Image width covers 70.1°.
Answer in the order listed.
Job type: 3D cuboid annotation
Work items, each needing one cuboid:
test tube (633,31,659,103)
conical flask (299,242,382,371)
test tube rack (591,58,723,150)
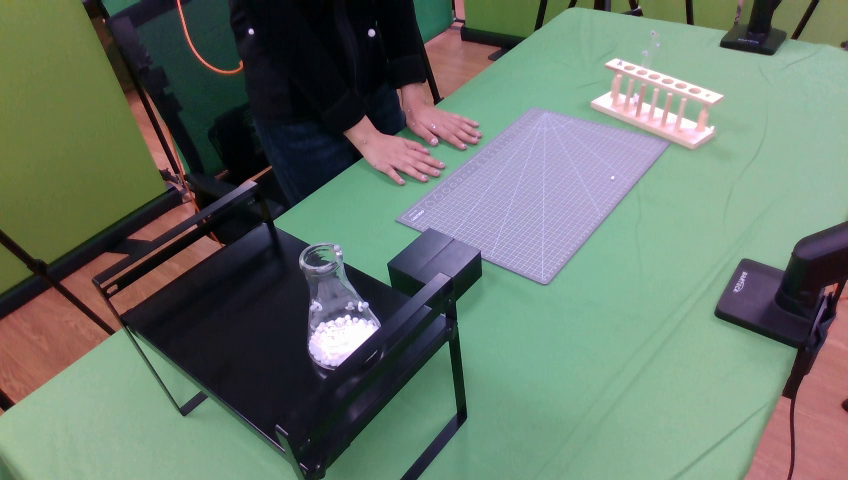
[{"bbox_3d":[0.427,-0.331,1.169,0.017,0.151,0.017,0,47,1],"label":"test tube"},{"bbox_3d":[-0.085,0.059,0.565,0.075,0.122,0.075,-5,41,4],"label":"conical flask"},{"bbox_3d":[0.442,-0.269,1.171,0.067,0.085,0.240,-30,46,-24],"label":"test tube rack"}]
